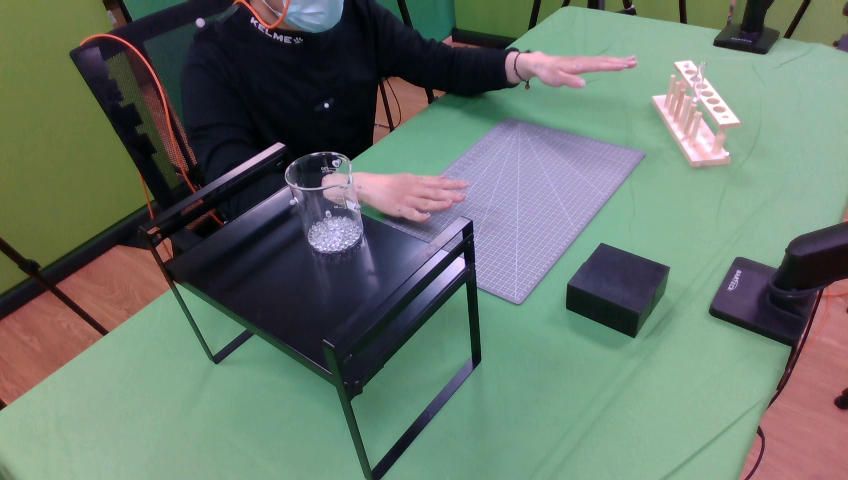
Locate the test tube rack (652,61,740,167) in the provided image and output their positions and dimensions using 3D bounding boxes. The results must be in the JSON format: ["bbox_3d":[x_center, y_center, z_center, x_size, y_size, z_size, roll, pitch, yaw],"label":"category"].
[{"bbox_3d":[0.499,-0.241,1.129,0.067,0.085,0.241,-5,41,3],"label":"test tube rack"}]

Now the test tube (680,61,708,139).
[{"bbox_3d":[0.476,-0.244,1.068,0.017,0.151,0.017,-3,42,3],"label":"test tube"}]

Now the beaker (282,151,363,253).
[{"bbox_3d":[-0.110,-0.041,0.697,0.083,0.101,0.074,18,47,26],"label":"beaker"}]
